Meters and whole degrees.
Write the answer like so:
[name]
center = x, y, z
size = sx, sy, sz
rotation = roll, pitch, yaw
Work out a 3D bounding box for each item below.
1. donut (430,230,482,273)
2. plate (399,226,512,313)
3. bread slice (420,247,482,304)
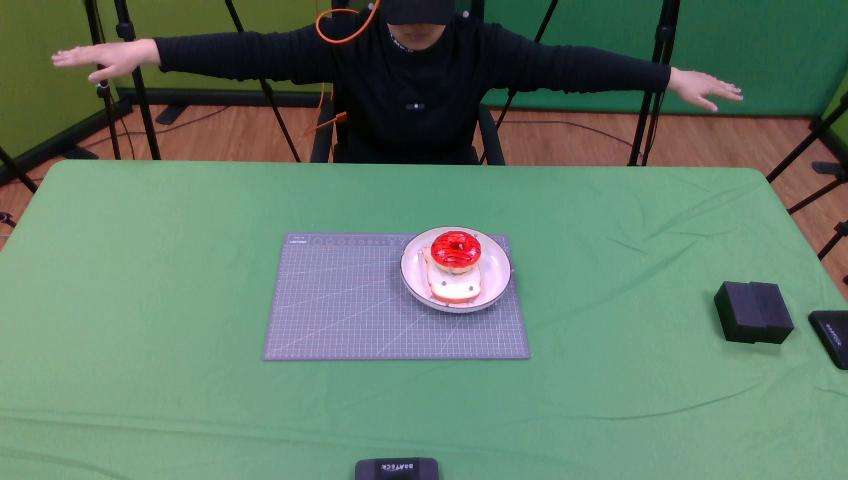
[donut]
center = 0.060, 0.020, 1.132
size = 0.099, 0.048, 0.098
rotation = 0, 43, 0
[plate]
center = 0.057, 0.057, 1.134
size = 0.209, 0.038, 0.208
rotation = 2, 46, -2
[bread slice]
center = 0.056, 0.062, 1.131
size = 0.107, 0.018, 0.133
rotation = -6, 47, -8
